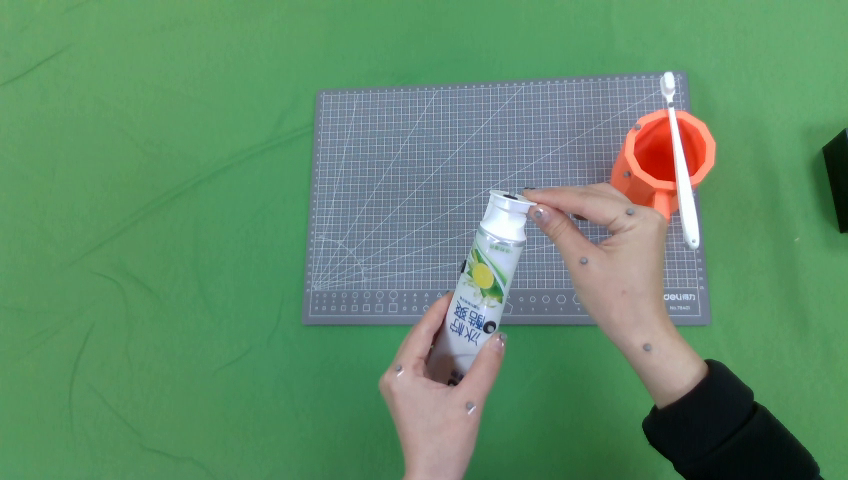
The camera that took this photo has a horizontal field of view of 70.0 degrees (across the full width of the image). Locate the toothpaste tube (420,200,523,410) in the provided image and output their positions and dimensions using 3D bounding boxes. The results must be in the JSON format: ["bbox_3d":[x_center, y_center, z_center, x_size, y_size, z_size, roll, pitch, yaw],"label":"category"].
[{"bbox_3d":[0.037,0.045,0.447,0.054,0.035,0.166,29,113,34],"label":"toothpaste tube"}]

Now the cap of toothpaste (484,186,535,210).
[{"bbox_3d":[0.058,-0.028,0.420,0.037,0.037,0.011,13,101,11],"label":"cap of toothpaste"}]

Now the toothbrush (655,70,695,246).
[{"bbox_3d":[0.244,-0.083,0.588,0.014,0.017,0.181,-4,76,4],"label":"toothbrush"}]

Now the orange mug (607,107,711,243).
[{"bbox_3d":[0.242,-0.064,0.638,0.083,0.101,0.125,7,72,10],"label":"orange mug"}]
